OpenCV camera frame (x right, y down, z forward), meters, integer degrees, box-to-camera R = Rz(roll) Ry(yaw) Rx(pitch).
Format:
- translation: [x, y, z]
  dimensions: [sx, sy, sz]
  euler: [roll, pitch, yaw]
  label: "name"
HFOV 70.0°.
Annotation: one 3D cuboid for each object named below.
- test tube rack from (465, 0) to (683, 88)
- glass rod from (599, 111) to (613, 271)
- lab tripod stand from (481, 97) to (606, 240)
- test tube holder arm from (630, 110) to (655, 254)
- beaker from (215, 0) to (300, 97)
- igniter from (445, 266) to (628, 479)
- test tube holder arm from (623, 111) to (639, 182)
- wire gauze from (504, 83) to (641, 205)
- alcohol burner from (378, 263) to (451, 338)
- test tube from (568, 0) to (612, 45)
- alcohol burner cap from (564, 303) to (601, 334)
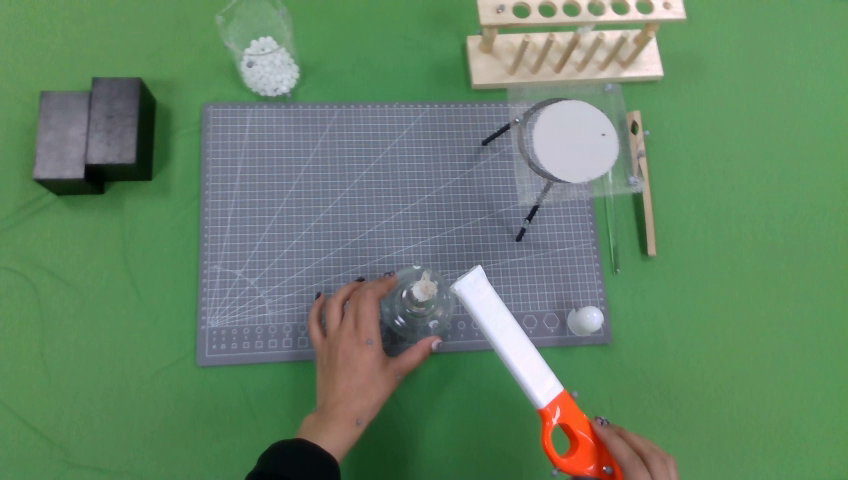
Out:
- translation: [0.177, -0.238, 0.726]
  dimensions: [0.243, 0.085, 0.066]
  euler: [-4, 76, -7]
  label: "test tube rack"
- translation: [0.218, -0.061, 0.727]
  dimensions: [0.008, 0.008, 0.199]
  euler: [1, 79, -6]
  label: "glass rod"
- translation: [0.125, -0.085, 0.655]
  dimensions: [0.148, 0.132, 0.147]
  euler: [1, 76, -4]
  label: "lab tripod stand"
- translation: [0.261, -0.071, 0.727]
  dimensions: [0.013, 0.015, 0.177]
  euler: [-10, 75, 26]
  label: "test tube holder arm"
- translation: [-0.181, -0.212, 0.674]
  dimensions: [0.084, 0.100, 0.073]
  euler: [16, 74, -1]
  label: "beaker"
- translation: [0.109, 0.143, 0.516]
  dimensions: [0.057, 0.025, 0.276]
  euler: [-36, 93, -21]
  label: "igniter"
- translation: [0.253, -0.114, 0.739]
  dimensions: [0.010, 0.015, 0.087]
  euler: [-10, 76, 26]
  label: "test tube holder arm"
- translation: [0.142, -0.098, 0.590]
  dimensions: [0.121, 0.011, 0.124]
  euler: [-4, 76, -6]
  label: "wire gauze"
- translation: [-0.008, 0.058, 0.615]
  dimensions: [0.078, 0.119, 0.077]
  euler: [2, 73, -5]
  label: "alcohol burner"
- translation: [0.199, -0.267, 0.685]
  dimensions: [0.017, 0.150, 0.017]
  euler: [3, 74, -11]
  label: "test tube"
- translation: [0.176, 0.084, 0.665]
  dimensions: [0.034, 0.048, 0.033]
  euler: [2, 75, -6]
  label: "alcohol burner cap"
